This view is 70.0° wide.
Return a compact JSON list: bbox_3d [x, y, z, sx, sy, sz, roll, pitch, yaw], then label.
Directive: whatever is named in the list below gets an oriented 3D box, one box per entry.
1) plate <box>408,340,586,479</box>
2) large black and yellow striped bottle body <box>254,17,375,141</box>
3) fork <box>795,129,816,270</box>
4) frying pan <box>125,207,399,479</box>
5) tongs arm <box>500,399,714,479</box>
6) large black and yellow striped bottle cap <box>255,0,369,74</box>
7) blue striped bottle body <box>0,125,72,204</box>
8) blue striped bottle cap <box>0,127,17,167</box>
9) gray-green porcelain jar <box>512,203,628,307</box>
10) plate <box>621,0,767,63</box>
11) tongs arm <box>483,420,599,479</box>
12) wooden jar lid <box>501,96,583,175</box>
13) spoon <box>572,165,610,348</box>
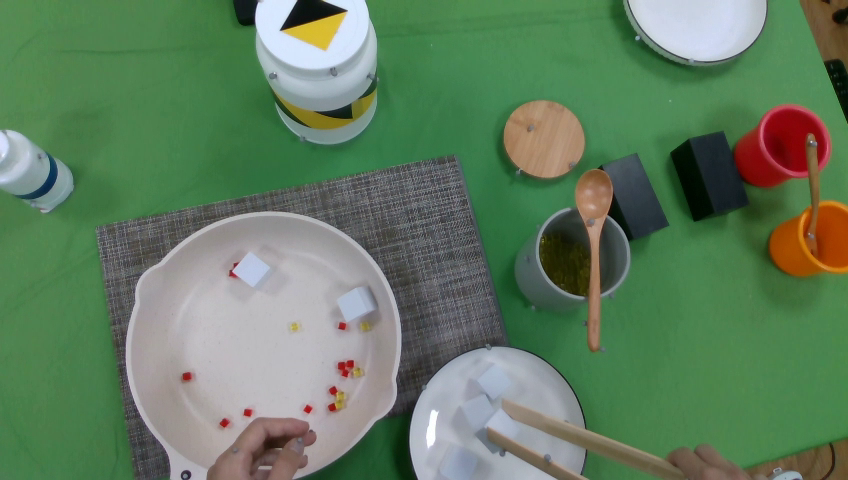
[{"bbox_3d":[0.084,0.221,0.708,0.208,0.039,0.207,1,80,-6],"label":"plate"},{"bbox_3d":[-0.122,-0.208,0.703,0.131,0.184,0.130,1,77,-5],"label":"large black and yellow striped bottle body"},{"bbox_3d":[0.471,-0.045,0.743,0.028,0.018,0.209,-25,126,-2],"label":"fork"},{"bbox_3d":[-0.220,0.197,0.648,0.307,0.103,0.486,28,69,1],"label":"frying pan"},{"bbox_3d":[0.236,0.224,0.546,0.384,0.028,0.028,16,35,33],"label":"tongs arm"},{"bbox_3d":[-0.114,-0.227,0.622,0.115,0.019,0.114,1,80,-5],"label":"large black and yellow striped bottle cap"},{"bbox_3d":[-0.454,-0.086,0.678,0.063,0.121,0.063,1,78,-5],"label":"blue striped bottle body"},{"bbox_3d":[-0.451,-0.098,0.628,0.044,0.020,0.044,1,80,-5],"label":"blue striped bottle cap"},{"bbox_3d":[0.164,0.023,0.713,0.106,0.127,0.105,1,78,-5],"label":"gray-green porcelain jar"},{"bbox_3d":[0.373,-0.341,0.851,0.209,0.038,0.208,1,78,-5],"label":"plate"},{"bbox_3d":[0.222,0.236,0.530,0.381,0.027,0.051,19,40,36],"label":"tongs arm"},{"bbox_3d":[0.154,-0.136,0.798,0.108,0.021,0.108,1,80,-5],"label":"wooden jar lid"},{"bbox_3d":[0.178,0.017,0.644,0.042,0.021,0.193,3,82,-9],"label":"spoon"}]
